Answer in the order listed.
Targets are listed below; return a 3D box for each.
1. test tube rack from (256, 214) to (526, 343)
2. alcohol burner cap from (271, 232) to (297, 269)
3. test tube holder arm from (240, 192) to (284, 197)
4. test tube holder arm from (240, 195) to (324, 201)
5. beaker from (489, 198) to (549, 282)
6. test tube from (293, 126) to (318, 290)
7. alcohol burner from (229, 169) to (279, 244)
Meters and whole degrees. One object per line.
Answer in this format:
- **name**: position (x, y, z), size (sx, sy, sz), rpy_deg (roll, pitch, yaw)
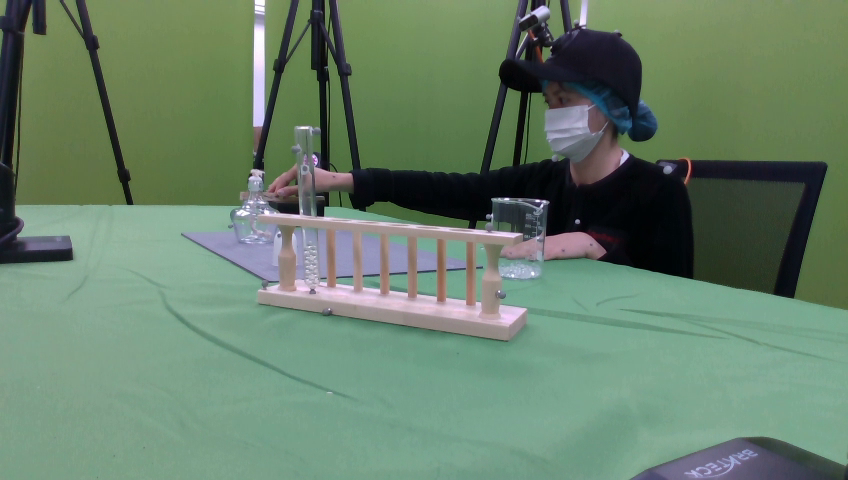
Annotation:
- **test tube rack**: position (-0.032, 0.027, 0.547), size (0.241, 0.085, 0.067), rpy_deg (5, 8, 22)
- **alcohol burner cap**: position (-0.175, 0.012, 0.761), size (0.034, 0.048, 0.034), rpy_deg (2, 7, 0)
- **test tube holder arm**: position (-0.325, -0.091, 1.213), size (0.088, 0.010, 0.015), rpy_deg (-1, 9, -37)
- **test tube holder arm**: position (-0.289, -0.087, 1.241), size (0.179, 0.013, 0.015), rpy_deg (-2, 10, -37)
- **beaker**: position (0.120, -0.001, 0.768), size (0.074, 0.100, 0.083), rpy_deg (-1, 9, -25)
- **test tube**: position (-0.107, -0.027, 0.550), size (0.017, 0.150, 0.017), rpy_deg (-1, 11, 0)
- **alcohol burner**: position (-0.268, -0.053, 0.958), size (0.078, 0.119, 0.078), rpy_deg (2, 5, 0)
